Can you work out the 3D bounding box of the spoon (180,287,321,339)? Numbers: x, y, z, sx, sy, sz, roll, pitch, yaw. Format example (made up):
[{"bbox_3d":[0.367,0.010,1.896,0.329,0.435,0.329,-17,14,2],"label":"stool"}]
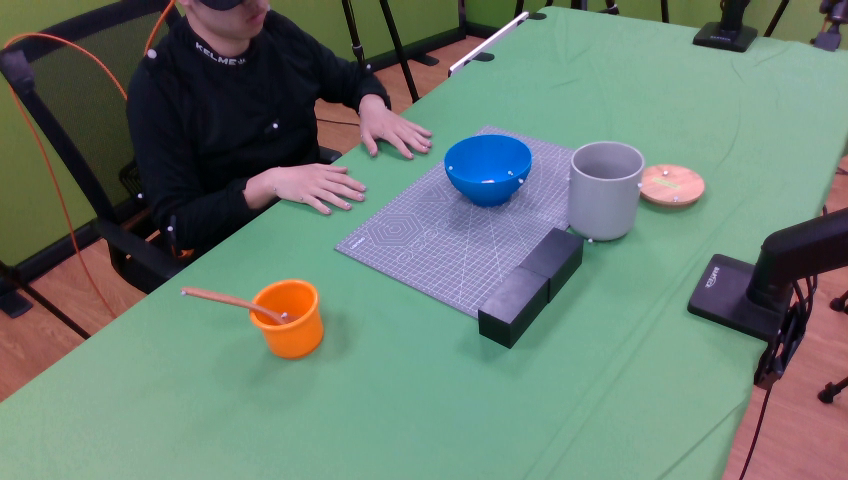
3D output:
[{"bbox_3d":[-0.223,0.093,0.796,0.021,0.195,0.041,-47,36,23],"label":"spoon"}]

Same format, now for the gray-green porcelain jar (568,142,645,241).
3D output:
[{"bbox_3d":[0.276,-0.070,0.931,0.106,0.127,0.105,-4,41,4],"label":"gray-green porcelain jar"}]

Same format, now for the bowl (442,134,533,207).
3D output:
[{"bbox_3d":[0.110,-0.109,1.033,0.151,0.077,0.150,-4,41,4],"label":"bowl"}]

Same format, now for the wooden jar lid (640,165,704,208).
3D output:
[{"bbox_3d":[0.410,-0.089,1.014,0.108,0.021,0.108,-5,41,5],"label":"wooden jar lid"}]
